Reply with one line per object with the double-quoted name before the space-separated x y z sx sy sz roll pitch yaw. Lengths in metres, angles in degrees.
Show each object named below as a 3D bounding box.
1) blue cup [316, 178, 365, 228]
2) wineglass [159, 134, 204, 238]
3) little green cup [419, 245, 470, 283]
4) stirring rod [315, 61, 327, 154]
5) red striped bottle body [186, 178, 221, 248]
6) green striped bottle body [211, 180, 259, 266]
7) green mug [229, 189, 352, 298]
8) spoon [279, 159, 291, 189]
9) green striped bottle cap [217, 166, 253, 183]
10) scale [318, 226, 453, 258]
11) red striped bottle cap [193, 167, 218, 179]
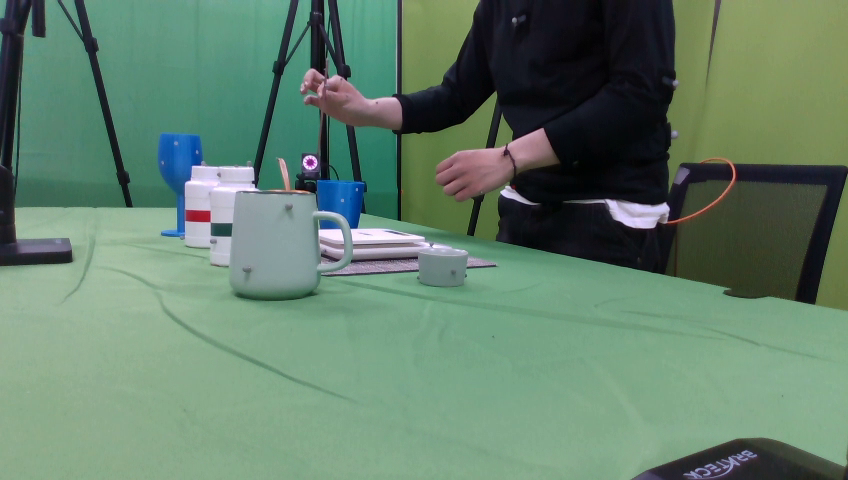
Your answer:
"blue cup" -0.149 -0.057 1.072 0.093 0.100 0.092 3 8 0
"wineglass" -0.415 -0.093 1.040 0.074 0.172 0.073 2 7 0
"little green cup" 0.023 0.028 0.712 0.061 0.038 0.061 1 6 0
"stirring rod" -0.191 -0.246 1.123 0.006 0.176 0.014 7 -5 -17
"red striped bottle body" -0.331 -0.050 0.927 0.063 0.119 0.063 2 6 0
"green striped bottle body" -0.243 -0.029 0.784 0.063 0.119 0.063 2 7 0
"green mug" -0.135 0.002 0.618 0.125 0.105 0.092 2 7 4
"spoon" -0.281 -0.102 1.251 0.042 0.193 0.021 4 -39 -27
"green striped bottle cap" -0.242 -0.085 0.777 0.044 0.020 0.044 2 9 0
"scale" -0.066 0.001 0.906 0.202 0.031 0.148 -2 8 -31
"red striped bottle cap" -0.329 -0.102 0.921 0.044 0.017 0.044 0 8 0
